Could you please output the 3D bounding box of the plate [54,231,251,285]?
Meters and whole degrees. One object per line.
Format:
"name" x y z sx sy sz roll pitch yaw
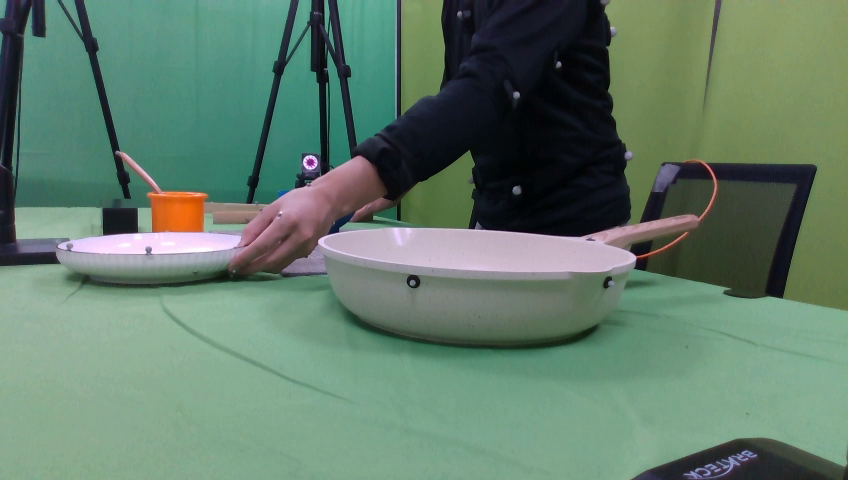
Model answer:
"plate" -0.309 0.019 0.705 0.208 0.039 0.207 2 7 0

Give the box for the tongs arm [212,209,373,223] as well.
"tongs arm" -0.275 -0.055 1.348 0.390 0.028 0.028 -2 6 -36

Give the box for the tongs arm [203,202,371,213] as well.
"tongs arm" -0.312 -0.069 1.417 0.387 0.026 0.050 1 8 -24

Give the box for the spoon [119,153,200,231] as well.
"spoon" -0.439 -0.077 1.000 0.021 0.193 0.042 -43 -6 22

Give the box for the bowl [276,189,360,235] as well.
"bowl" -0.195 -0.051 1.114 0.151 0.077 0.151 2 7 0

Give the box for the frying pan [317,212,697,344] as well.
"frying pan" 0.133 0.013 0.629 0.490 0.102 0.305 -12 14 -31
